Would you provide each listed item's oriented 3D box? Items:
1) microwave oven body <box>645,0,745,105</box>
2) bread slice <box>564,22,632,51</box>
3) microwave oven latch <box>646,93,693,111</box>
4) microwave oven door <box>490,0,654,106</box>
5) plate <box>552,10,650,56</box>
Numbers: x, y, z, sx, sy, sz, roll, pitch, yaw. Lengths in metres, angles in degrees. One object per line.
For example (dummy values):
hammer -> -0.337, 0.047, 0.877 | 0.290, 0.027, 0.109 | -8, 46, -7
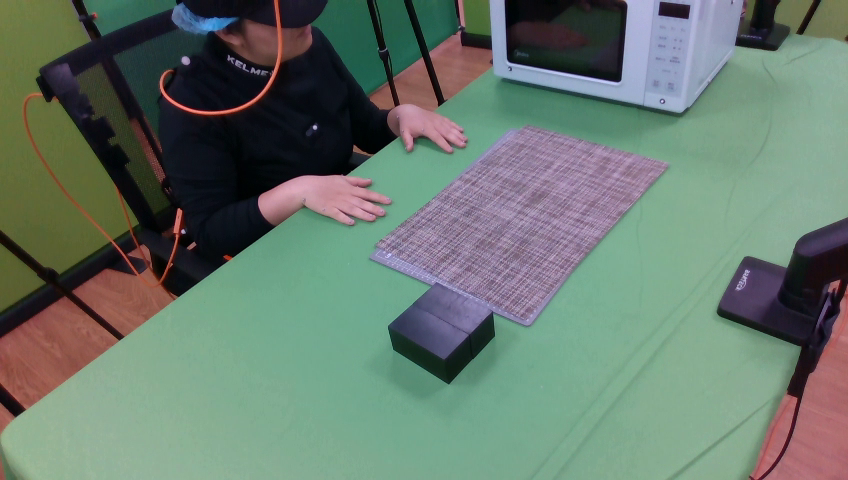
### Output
microwave oven body -> 0.416, -0.486, 1.290 | 0.438, 0.261, 0.327 | 21, 50, 33
bread slice -> 0.394, -0.453, 1.344 | 0.105, 0.019, 0.130 | -36, 42, -26
microwave oven latch -> 0.477, -0.273, 1.177 | 0.078, 0.029, 0.030 | 22, 50, 33
microwave oven door -> 0.292, -0.420, 1.228 | 0.353, 0.245, 0.039 | 22, 49, 32
plate -> 0.391, -0.454, 1.339 | 0.209, 0.038, 0.208 | -5, 39, 5
